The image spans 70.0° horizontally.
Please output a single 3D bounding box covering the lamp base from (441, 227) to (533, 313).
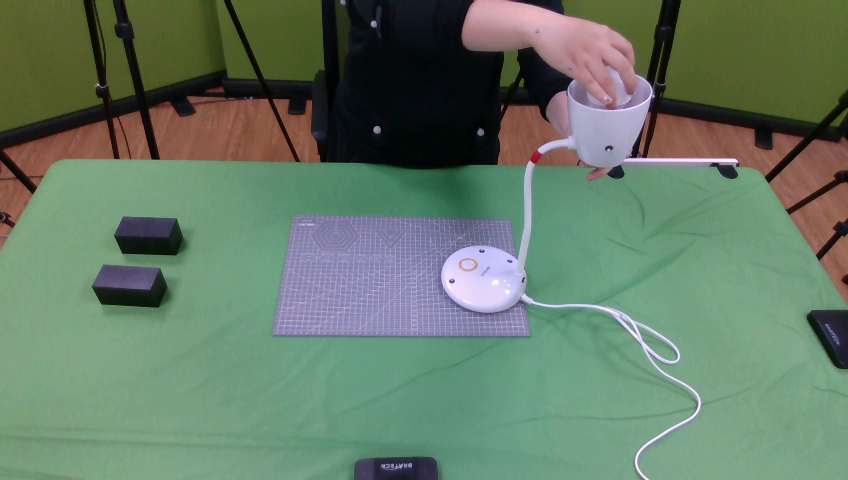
[{"bbox_3d":[0.126,0.022,1.071,0.179,0.181,0.160,23,49,14],"label":"lamp base"}]

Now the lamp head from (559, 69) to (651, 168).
[{"bbox_3d":[0.251,-0.163,0.859,0.112,0.123,0.111,0,43,0],"label":"lamp head"}]

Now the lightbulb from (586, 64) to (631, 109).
[{"bbox_3d":[0.254,-0.190,0.841,0.059,0.108,0.059,-4,39,4],"label":"lightbulb"}]
